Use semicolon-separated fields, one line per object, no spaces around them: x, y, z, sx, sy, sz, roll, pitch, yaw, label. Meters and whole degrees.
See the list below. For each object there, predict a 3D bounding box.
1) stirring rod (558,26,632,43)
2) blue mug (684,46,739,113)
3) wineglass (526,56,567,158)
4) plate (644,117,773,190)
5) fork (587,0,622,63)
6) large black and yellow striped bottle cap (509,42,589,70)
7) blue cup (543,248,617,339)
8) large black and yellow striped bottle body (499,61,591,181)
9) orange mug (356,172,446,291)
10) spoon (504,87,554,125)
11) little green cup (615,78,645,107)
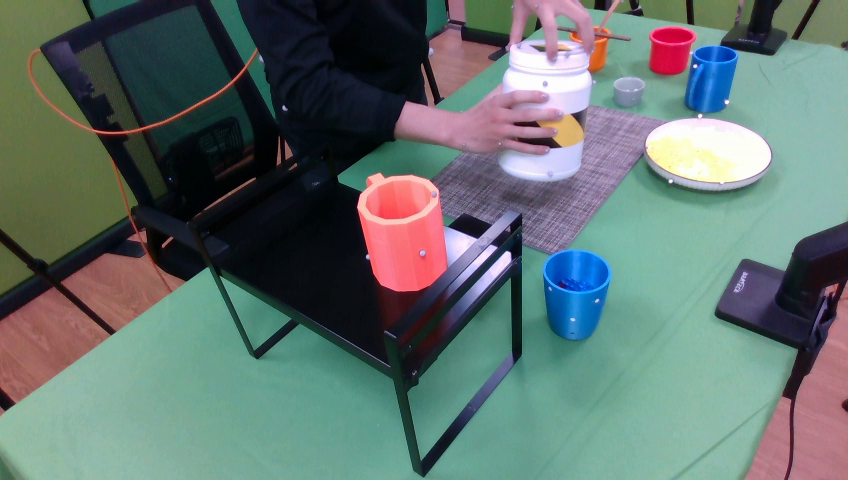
0.381;-0.462;1.356;0.175;0.006;0.014;23;49;29;stirring rod
0.556;-0.311;1.190;0.117;0.106;0.081;-32;46;-25;blue mug
0.222;-0.241;1.102;0.074;0.173;0.073;-5;41;4;wineglass
0.495;-0.149;1.063;0.209;0.038;0.208;-5;40;4;plate
0.409;-0.484;1.381;0.028;0.019;0.207;37;101;46;fork
0.182;-0.270;0.882;0.115;0.019;0.114;1;29;0;large black and yellow striped bottle cap
0.199;0.076;0.797;0.092;0.100;0.092;-4;39;4;blue cup
0.184;-0.197;0.923;0.131;0.184;0.130;0;30;1;large black and yellow striped bottle body
-0.030;-0.018;0.668;0.084;0.101;0.125;-23;47;-16;orange mug
0.227;-0.284;1.269;0.041;0.022;0.194;2;36;44;spoon
0.426;-0.306;1.257;0.061;0.039;0.061;-5;40;4;little green cup
